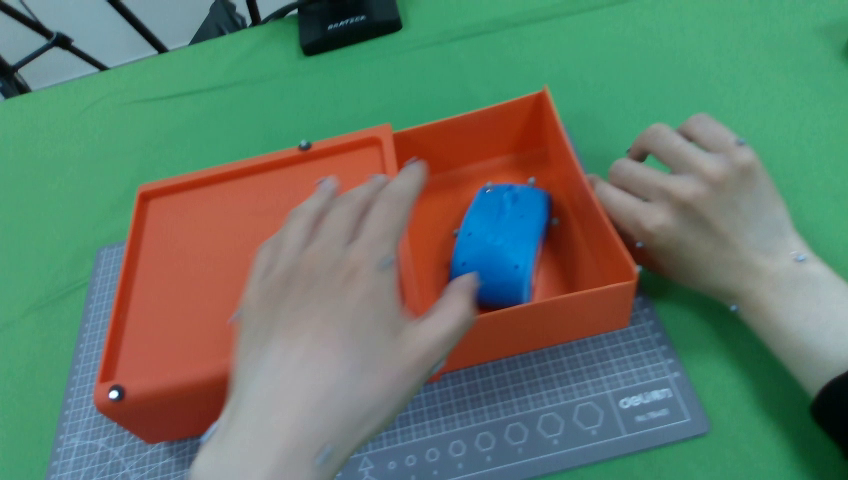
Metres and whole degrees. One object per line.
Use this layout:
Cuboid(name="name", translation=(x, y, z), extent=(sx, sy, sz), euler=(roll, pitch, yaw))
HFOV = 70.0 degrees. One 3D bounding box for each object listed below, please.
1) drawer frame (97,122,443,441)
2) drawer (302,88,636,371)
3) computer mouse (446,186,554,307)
Cuboid(name="drawer frame", translation=(-0.106, 0.025, 0.454), extent=(0.213, 0.083, 0.199), euler=(-14, 51, 3))
Cuboid(name="drawer", translation=(0.019, -0.007, 0.450), extent=(0.212, 0.074, 0.192), euler=(-14, 51, 1))
Cuboid(name="computer mouse", translation=(0.058, -0.002, 0.456), extent=(0.062, 0.041, 0.116), euler=(5, 48, 21))
